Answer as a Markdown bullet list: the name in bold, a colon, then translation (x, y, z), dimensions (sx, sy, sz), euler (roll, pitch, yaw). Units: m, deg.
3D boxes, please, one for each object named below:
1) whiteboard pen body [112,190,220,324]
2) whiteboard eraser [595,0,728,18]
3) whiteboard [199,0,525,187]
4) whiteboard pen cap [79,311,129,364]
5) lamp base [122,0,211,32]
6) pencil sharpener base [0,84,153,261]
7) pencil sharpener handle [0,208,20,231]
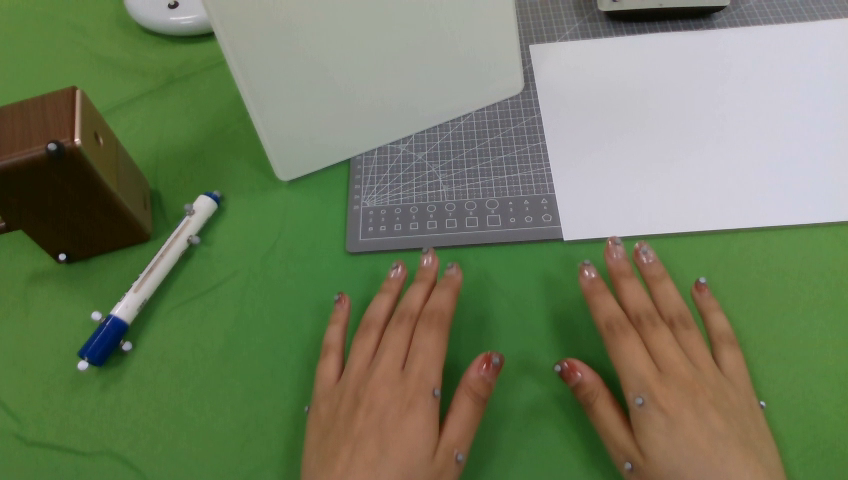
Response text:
- **whiteboard pen body**: translation (-0.187, 0.019, 0.429), dimensions (0.017, 0.017, 0.140), euler (16, 58, 15)
- **whiteboard eraser**: translation (0.208, -0.227, 0.540), dimensions (0.112, 0.042, 0.055), euler (-1, 58, 5)
- **whiteboard**: translation (-0.068, -0.235, 0.449), dimensions (0.217, 0.308, 0.142), euler (-22, 38, -8)
- **whiteboard pen cap**: translation (-0.209, 0.063, 0.397), dimensions (0.018, 0.018, 0.033), euler (16, 57, 16)
- **lamp base**: translation (-0.242, -0.314, 0.557), dimensions (0.177, 0.182, 0.160), euler (32, 65, 26)
- **pencil sharpener base**: translation (-0.250, -0.043, 0.422), dimensions (0.077, 0.108, 0.060), euler (-17, 57, -6)
- **pencil sharpener handle**: translation (-0.299, -0.032, 0.404), dimensions (0.031, 0.068, 0.035), euler (-18, 44, -6)
